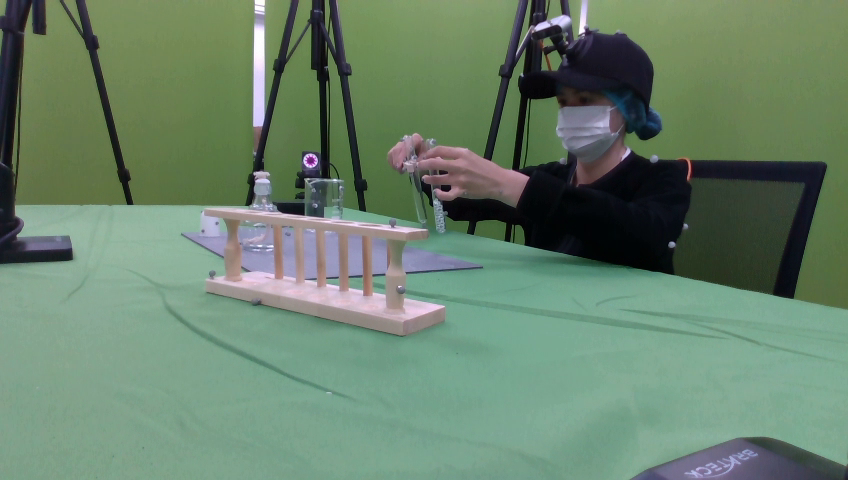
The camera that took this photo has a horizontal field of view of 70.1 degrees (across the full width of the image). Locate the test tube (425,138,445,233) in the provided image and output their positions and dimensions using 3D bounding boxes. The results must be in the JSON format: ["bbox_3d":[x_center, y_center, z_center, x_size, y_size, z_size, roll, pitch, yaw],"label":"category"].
[{"bbox_3d":[0.017,-0.085,0.943,0.017,0.150,0.017,-7,2,1],"label":"test tube"}]

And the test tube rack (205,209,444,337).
[{"bbox_3d":[-0.100,0.021,0.565,0.241,0.085,0.067,7,8,32],"label":"test tube rack"}]

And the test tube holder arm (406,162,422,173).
[{"bbox_3d":[-0.021,-0.126,1.045,0.010,0.015,0.087,-4,11,-19],"label":"test tube holder arm"}]

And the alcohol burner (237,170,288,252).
[{"bbox_3d":[-0.236,-0.042,0.882,0.078,0.119,0.078,2,9,0],"label":"alcohol burner"}]

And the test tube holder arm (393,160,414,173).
[{"bbox_3d":[-0.038,-0.134,1.086,0.013,0.015,0.178,-2,11,-13],"label":"test tube holder arm"}]

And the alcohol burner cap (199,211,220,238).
[{"bbox_3d":[-0.356,-0.027,1.002,0.034,0.048,0.034,2,7,0],"label":"alcohol burner cap"}]

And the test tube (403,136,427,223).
[{"bbox_3d":[-0.015,-0.102,1.023,0.017,0.150,0.017,-10,4,1],"label":"test tube"}]

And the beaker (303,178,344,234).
[{"bbox_3d":[-0.189,-0.063,1.119,0.073,0.100,0.084,6,9,28],"label":"beaker"}]
